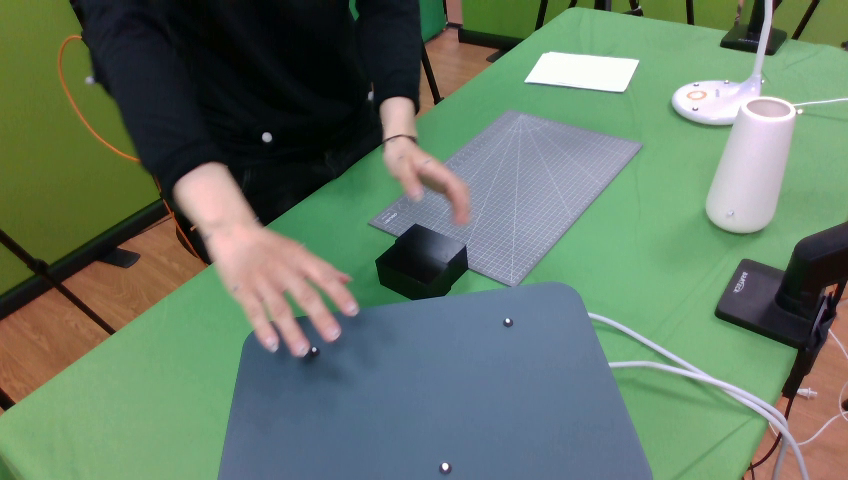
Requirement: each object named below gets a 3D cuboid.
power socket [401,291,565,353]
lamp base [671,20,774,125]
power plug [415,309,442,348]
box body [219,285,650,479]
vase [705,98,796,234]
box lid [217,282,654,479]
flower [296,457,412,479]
[{"bbox_3d":[0.079,0.111,0.823,0.227,0.033,0.072,-5,41,1],"label":"power socket"},{"bbox_3d":[0.581,-0.332,1.154,0.179,0.181,0.160,2,42,7],"label":"lamp base"},{"bbox_3d":[0.003,0.121,0.787,0.035,0.053,0.072,4,45,9],"label":"power plug"},{"bbox_3d":[0.005,0.209,0.618,0.364,0.161,0.252,-8,40,-1],"label":"box body"},{"bbox_3d":[0.480,-0.104,0.889,0.098,0.201,0.097,-4,42,4],"label":"vase"},{"bbox_3d":[-0.004,0.154,0.571,0.372,0.015,0.261,-8,40,-1],"label":"box lid"},{"bbox_3d":[0.017,0.270,0.655,0.360,0.038,0.044,3,18,21],"label":"flower"}]
